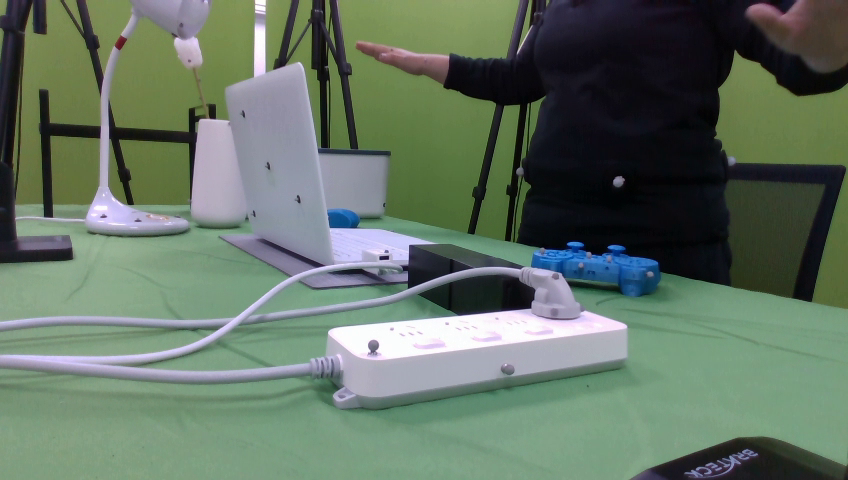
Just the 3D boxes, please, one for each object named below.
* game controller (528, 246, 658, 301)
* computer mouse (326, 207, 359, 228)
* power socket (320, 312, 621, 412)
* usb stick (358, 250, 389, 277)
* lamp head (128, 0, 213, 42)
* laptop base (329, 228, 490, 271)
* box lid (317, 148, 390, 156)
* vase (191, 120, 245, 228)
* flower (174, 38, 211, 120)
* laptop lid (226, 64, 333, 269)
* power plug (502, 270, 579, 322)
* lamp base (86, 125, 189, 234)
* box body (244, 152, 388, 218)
[{"bbox_3d":[0.202,0.036,0.733,0.155,0.051,0.097,5,10,19],"label":"game controller"},{"bbox_3d":[-0.194,-0.046,1.241,0.117,0.041,0.063,0,10,11],"label":"computer mouse"},{"bbox_3d":[0.038,0.075,0.409,0.228,0.032,0.072,-2,8,-29],"label":"power socket"},{"bbox_3d":[-0.062,0.026,0.708,0.021,0.027,0.059,-3,5,-28],"label":"usb stick"},{"bbox_3d":[-0.423,-0.394,0.980,0.123,0.112,0.112,20,7,-3],"label":"lamp head"},{"bbox_3d":[-0.096,0.011,0.912,0.237,0.023,0.352,2,7,-32],"label":"laptop base"},{"bbox_3d":[-0.295,-0.217,1.463,0.373,0.015,0.262,-1,8,-29],"label":"box lid"},{"bbox_3d":[-0.389,-0.124,1.143,0.098,0.200,0.098,3,9,0],"label":"vase"},{"bbox_3d":[-0.401,-0.207,1.141,0.038,0.361,0.044,-14,3,44],"label":"flower"},{"bbox_3d":[-0.209,-0.101,0.824,0.013,0.241,0.355,-14,16,-29],"label":"laptop lid"},{"bbox_3d":[0.090,0.051,0.469,0.035,0.052,0.072,0,5,-19],"label":"power plug"},{"bbox_3d":[-0.497,-0.105,1.027,0.179,0.180,0.160,1,7,2],"label":"lamp base"},{"bbox_3d":[-0.297,-0.143,1.474,0.366,0.160,0.253,-1,9,-30],"label":"box body"}]
